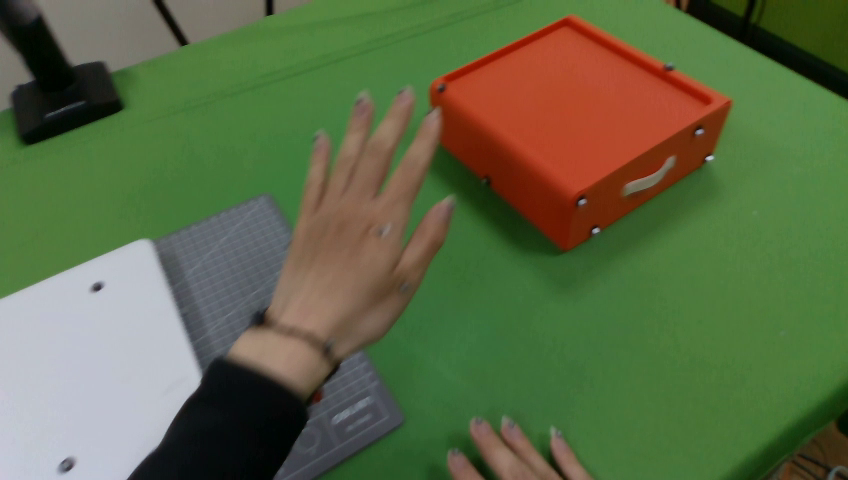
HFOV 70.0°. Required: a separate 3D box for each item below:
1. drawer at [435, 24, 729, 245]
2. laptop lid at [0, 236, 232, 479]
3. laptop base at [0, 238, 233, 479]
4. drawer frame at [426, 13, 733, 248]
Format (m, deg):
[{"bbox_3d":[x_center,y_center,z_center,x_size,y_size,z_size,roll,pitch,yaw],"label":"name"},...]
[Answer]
[{"bbox_3d":[0.147,-0.118,0.603,0.194,0.074,0.209,-31,52,-19],"label":"drawer"},{"bbox_3d":[-0.346,0.142,0.453,0.357,0.013,0.239,-25,54,-16],"label":"laptop lid"},{"bbox_3d":[-0.346,0.148,0.464,0.354,0.023,0.233,-27,55,-17],"label":"laptop base"},{"bbox_3d":[0.145,-0.119,0.603,0.202,0.083,0.211,-32,53,-19],"label":"drawer frame"}]
